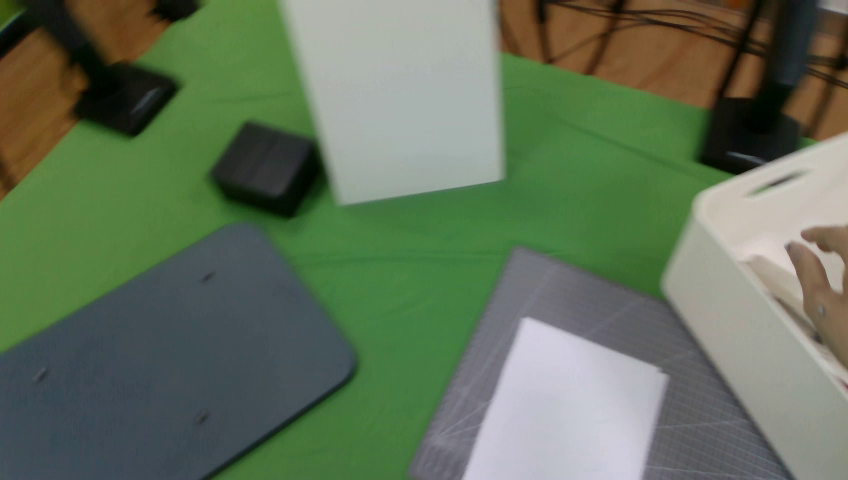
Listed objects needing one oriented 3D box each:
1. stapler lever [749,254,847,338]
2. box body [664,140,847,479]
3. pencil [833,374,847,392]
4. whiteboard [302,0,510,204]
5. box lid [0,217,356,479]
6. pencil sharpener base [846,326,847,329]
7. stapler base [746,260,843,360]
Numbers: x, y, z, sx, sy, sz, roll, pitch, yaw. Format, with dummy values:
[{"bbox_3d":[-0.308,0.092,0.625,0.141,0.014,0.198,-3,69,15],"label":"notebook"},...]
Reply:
[{"bbox_3d":[0.399,0.057,0.643,0.027,0.040,0.117,-31,61,-19],"label":"stapler lever"},{"bbox_3d":[0.437,0.101,0.571,0.254,0.162,0.360,-20,60,-10],"label":"box body"},{"bbox_3d":[0.467,0.185,0.602,0.012,0.012,0.192,-34,60,-17],"label":"pencil"},{"bbox_3d":[-0.017,-0.222,0.737,0.217,0.308,0.142,-8,39,-2],"label":"whiteboard"},{"bbox_3d":[-0.288,0.145,0.661,0.371,0.015,0.261,-33,63,-17],"label":"box lid"},{"bbox_3d":[0.495,0.083,0.607,0.061,0.108,0.076,-20,59,-11],"label":"pencil sharpener base"},{"bbox_3d":[0.401,0.072,0.665,0.041,0.024,0.129,-31,63,-19],"label":"stapler base"}]
